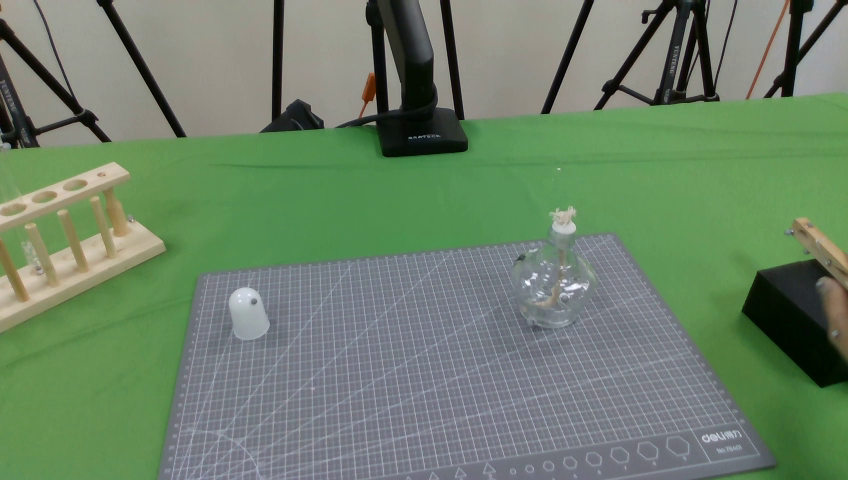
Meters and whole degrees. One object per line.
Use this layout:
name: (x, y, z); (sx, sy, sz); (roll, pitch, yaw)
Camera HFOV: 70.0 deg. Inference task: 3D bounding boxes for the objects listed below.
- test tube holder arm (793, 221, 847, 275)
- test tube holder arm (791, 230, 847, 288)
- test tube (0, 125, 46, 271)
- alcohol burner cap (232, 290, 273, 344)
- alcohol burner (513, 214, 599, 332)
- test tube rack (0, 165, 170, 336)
test tube holder arm: (0.376, 0.010, 0.561); (0.015, 0.010, 0.087); (-2, 36, -6)
test tube holder arm: (0.380, 0.041, 0.528); (0.015, 0.013, 0.176); (-2, 35, -6)
test tube: (-0.378, -0.035, 0.563); (0.017, 0.151, 0.017); (2, 31, -1)
alcohol burner cap: (-0.156, 0.066, 0.546); (0.034, 0.048, 0.033); (0, 37, 0)
alcohol burner: (0.121, 0.025, 0.544); (0.078, 0.120, 0.077); (1, 39, -1)
test tube rack: (-0.378, 0.020, 0.572); (0.066, 0.086, 0.242); (28, 45, 33)
